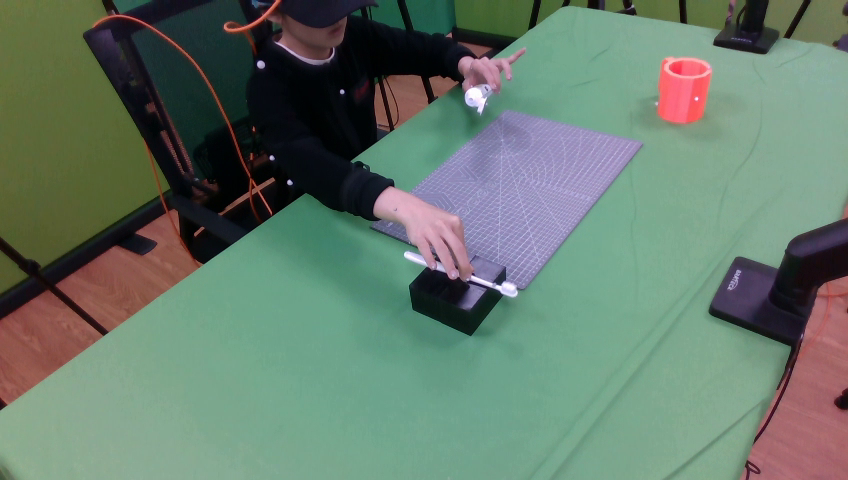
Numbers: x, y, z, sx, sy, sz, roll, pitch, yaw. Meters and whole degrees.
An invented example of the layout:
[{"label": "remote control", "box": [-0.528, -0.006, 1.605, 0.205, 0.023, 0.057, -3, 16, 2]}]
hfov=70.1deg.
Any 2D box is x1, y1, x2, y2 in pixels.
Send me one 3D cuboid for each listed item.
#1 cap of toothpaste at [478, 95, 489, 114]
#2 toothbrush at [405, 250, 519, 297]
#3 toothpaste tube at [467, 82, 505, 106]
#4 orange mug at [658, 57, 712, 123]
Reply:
[{"label": "cap of toothpaste", "box": [0.106, -0.245, 1.089, 0.011, 0.037, 0.037, 21, 44, 1]}, {"label": "toothbrush", "box": [0.049, 0.043, 0.846, 0.180, 0.017, 0.014, 19, 46, 26]}, {"label": "toothpaste tube", "box": [0.116, -0.288, 1.168, 0.055, 0.034, 0.165, 3, 25, 17]}, {"label": "orange mug", "box": [0.504, -0.304, 1.193, 0.083, 0.101, 0.125, -13, 45, -5]}]
